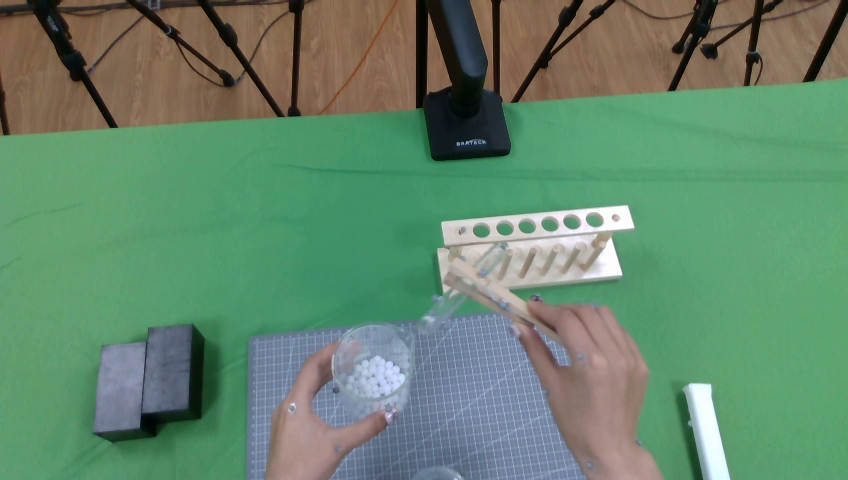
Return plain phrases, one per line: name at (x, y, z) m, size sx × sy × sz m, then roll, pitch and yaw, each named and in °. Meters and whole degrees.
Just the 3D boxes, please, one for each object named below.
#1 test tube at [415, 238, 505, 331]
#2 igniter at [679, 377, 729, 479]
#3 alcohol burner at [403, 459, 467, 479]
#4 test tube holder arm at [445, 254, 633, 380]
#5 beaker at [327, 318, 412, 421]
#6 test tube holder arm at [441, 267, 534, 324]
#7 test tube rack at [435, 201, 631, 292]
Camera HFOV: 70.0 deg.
test tube at (0.035, 0.033, 0.520) m, size 0.017 × 0.017 × 0.150 m, roll 34°, pitch 38°, yaw 14°
igniter at (0.332, 0.293, 0.685) m, size 0.057 × 0.025 × 0.274 m, roll 5°, pitch 62°, yaw -12°
alcohol burner at (0.013, 0.265, 0.628) m, size 0.078 × 0.120 × 0.077 m, roll 2°, pitch 60°, yaw -3°
test tube holder arm at (0.096, 0.064, 0.511) m, size 0.178 × 0.013 × 0.015 m, roll 31°, pitch 41°, yaw 7°
beaker at (-0.048, 0.126, 0.580) m, size 0.084 × 0.101 × 0.073 m, roll -34°, pitch 68°, yaw -21°
test tube holder arm at (0.056, 0.047, 0.522) m, size 0.087 × 0.010 × 0.015 m, roll 25°, pitch 40°, yaw 12°
test tube rack at (0.140, 0.009, 0.787) m, size 0.243 × 0.086 × 0.066 m, roll -5°, pitch 63°, yaw -6°
